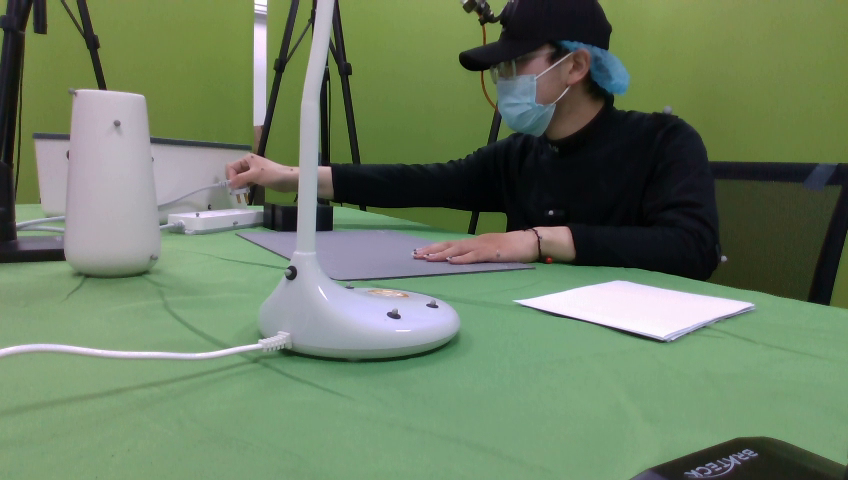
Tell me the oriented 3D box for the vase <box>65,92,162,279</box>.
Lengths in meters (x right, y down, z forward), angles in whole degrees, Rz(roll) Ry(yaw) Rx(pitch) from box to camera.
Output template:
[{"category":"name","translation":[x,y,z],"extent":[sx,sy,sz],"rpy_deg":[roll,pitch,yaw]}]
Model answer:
[{"category":"vase","translation":[-0.347,-0.060,0.673],"extent":[0.098,0.200,0.098],"rpy_deg":[1,7,0]}]

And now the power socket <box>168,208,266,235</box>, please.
[{"category":"power socket","translation":[-0.379,-0.038,1.129],"extent":[0.072,0.032,0.227],"rpy_deg":[4,8,19]}]

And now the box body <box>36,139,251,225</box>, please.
[{"category":"box body","translation":[-0.559,-0.127,1.257],"extent":[0.253,0.160,0.365],"rpy_deg":[4,8,15]}]

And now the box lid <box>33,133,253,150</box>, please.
[{"category":"box lid","translation":[-0.555,-0.199,1.249],"extent":[0.263,0.015,0.372],"rpy_deg":[5,8,15]}]

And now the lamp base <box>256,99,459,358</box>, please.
[{"category":"lamp base","translation":[-0.055,-0.013,0.463],"extent":[0.160,0.180,0.180],"rpy_deg":[6,11,27]}]

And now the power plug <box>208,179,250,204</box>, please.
[{"category":"power plug","translation":[-0.382,-0.093,1.195],"extent":[0.073,0.052,0.035],"rpy_deg":[-12,0,-9]}]
